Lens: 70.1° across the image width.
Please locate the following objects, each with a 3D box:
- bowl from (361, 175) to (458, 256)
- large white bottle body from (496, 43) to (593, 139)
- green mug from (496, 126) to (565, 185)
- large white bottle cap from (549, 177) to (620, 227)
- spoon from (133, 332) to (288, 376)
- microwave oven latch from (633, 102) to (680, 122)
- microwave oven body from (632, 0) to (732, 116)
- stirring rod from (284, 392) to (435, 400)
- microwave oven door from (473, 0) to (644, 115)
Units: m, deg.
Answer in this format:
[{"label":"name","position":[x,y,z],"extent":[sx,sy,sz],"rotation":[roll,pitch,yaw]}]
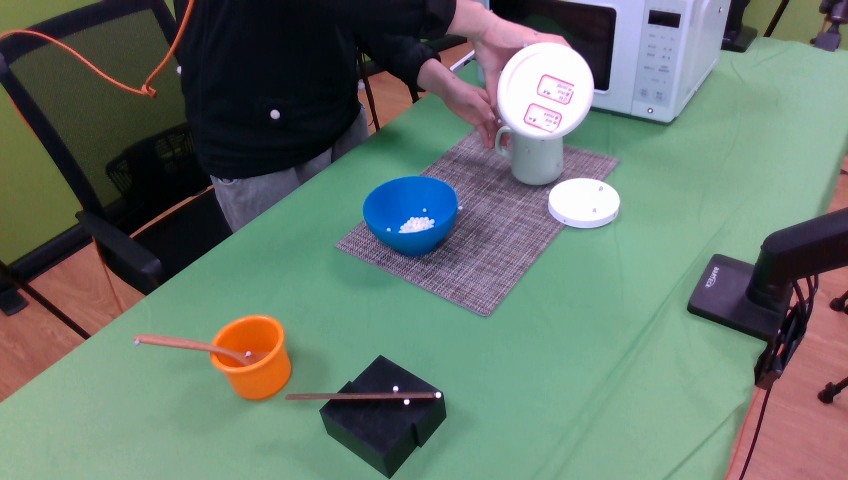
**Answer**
[{"label":"bowl","position":[-0.019,-0.028,0.955],"extent":[0.151,0.077,0.150],"rotation":[-4,40,4]},{"label":"large white bottle body","position":[0.174,-0.218,0.908],"extent":[0.130,0.130,0.184],"rotation":[-2,11,6]},{"label":"green mug","position":[0.185,-0.162,1.061],"extent":[0.124,0.105,0.092],"rotation":[15,46,25]},{"label":"large white bottle cap","position":[0.265,-0.064,1.000],"extent":[0.115,0.018,0.114],"rotation":[-1,43,2]},{"label":"spoon","position":[-0.257,0.137,0.748],"extent":[0.021,0.195,0.041],"rotation":[-46,41,23]},{"label":"microwave oven latch","position":[0.443,-0.249,1.157],"extent":[0.078,0.029,0.030],"rotation":[21,49,30]},{"label":"microwave oven body","position":[0.377,-0.462,1.267],"extent":[0.438,0.261,0.327],"rotation":[21,48,30]},{"label":"stirring rod","position":[-0.075,0.180,0.698],"extent":[0.176,0.006,0.014],"rotation":[-2,6,7]},{"label":"microwave oven door","position":[0.257,-0.396,1.199],"extent":[0.353,0.245,0.039],"rotation":[21,48,29]}]
